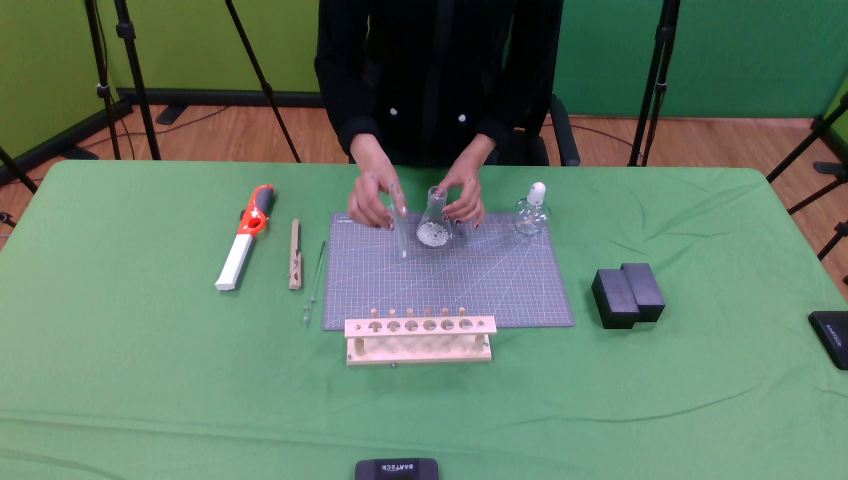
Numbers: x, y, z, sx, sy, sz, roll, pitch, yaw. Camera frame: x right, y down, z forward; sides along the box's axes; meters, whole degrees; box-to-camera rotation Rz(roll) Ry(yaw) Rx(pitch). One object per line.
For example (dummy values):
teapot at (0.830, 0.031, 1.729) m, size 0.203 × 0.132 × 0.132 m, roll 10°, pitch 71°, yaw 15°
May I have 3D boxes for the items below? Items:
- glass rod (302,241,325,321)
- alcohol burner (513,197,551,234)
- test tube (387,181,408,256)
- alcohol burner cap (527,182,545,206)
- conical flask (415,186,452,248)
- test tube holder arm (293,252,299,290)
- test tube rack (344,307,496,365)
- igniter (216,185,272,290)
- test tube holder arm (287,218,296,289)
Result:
glass rod at (-0.204, 0.071, 1.124) m, size 0.008 × 0.008 × 0.198 m, roll 4°, pitch 44°, yaw 1°
alcohol burner at (0.220, -0.069, 1.216) m, size 0.078 × 0.119 × 0.077 m, roll 3°, pitch 47°, yaw -3°
test tube at (-0.040, -0.029, 0.932) m, size 0.017 × 0.151 × 0.017 m, roll -3°, pitch 44°, yaw 4°
alcohol burner cap at (0.222, -0.092, 1.189) m, size 0.034 × 0.048 × 0.033 m, roll 2°, pitch 55°, yaw -3°
conical flask at (0.021, -0.049, 1.175) m, size 0.075 × 0.122 × 0.075 m, roll 2°, pitch 46°, yaw -2°
test tube holder arm at (-0.241, 0.056, 1.131) m, size 0.010 × 0.015 × 0.087 m, roll 25°, pitch 35°, yaw -33°
test tube rack at (-0.009, 0.154, 1.007) m, size 0.242 × 0.085 × 0.066 m, roll -1°, pitch 46°, yaw -5°
igniter at (-0.347, -0.014, 1.182) m, size 0.057 × 0.025 × 0.275 m, roll -2°, pitch 45°, yaw 8°
test tube holder arm at (-0.253, 0.022, 1.158) m, size 0.013 × 0.015 × 0.177 m, roll 23°, pitch 36°, yaw -34°
